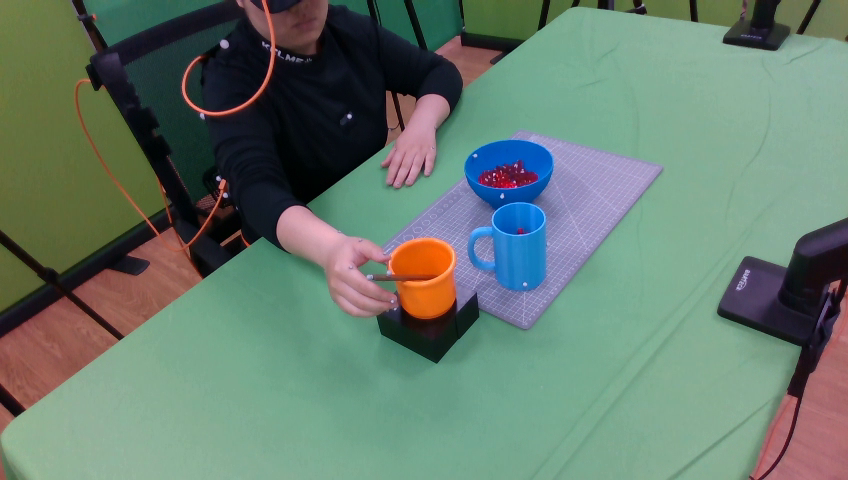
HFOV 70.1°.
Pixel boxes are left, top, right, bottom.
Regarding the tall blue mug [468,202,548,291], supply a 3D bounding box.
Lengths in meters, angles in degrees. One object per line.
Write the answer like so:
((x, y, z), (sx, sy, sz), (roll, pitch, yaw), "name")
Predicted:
((0.125, 0.015, 0.868), (0.107, 0.108, 0.077), (-21, 42, -14), "tall blue mug")

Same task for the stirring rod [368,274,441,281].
((-0.020, 0.047, 0.762), (0.014, 0.006, 0.177), (16, 4, 26), "stirring rod")

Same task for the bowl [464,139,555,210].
((0.145, -0.100, 1.025), (0.151, 0.077, 0.150), (-5, 40, 5), "bowl")
